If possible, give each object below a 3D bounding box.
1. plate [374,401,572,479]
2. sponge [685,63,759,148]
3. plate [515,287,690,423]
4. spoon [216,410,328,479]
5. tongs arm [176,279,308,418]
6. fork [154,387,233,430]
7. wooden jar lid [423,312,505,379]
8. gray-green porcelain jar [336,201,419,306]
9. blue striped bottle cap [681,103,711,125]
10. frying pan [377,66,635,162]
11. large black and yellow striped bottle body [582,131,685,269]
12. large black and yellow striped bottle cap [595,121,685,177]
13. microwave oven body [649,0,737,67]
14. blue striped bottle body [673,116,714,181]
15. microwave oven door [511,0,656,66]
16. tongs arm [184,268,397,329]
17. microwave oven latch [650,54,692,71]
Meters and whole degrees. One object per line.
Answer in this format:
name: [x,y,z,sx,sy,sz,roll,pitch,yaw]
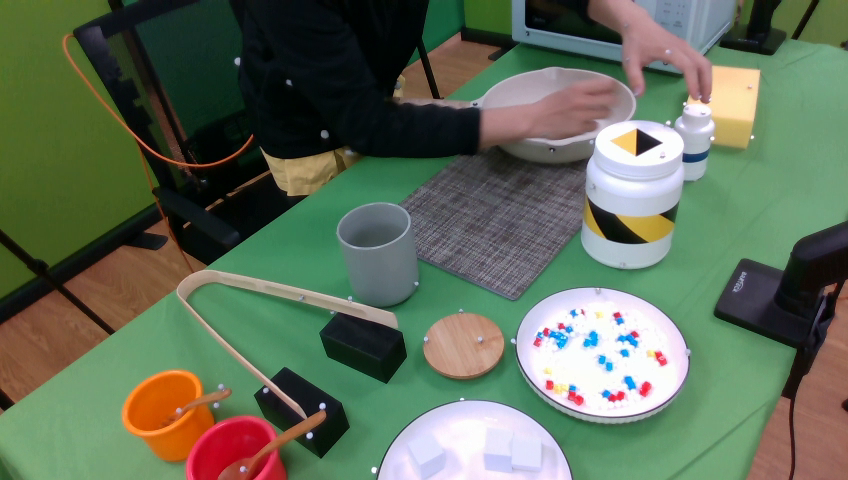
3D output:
plate: [0.051,0.268,0.639,0.207,0.039,0.206,-3,40,3]
sponge: [0.569,-0.263,1.164,0.117,0.061,0.207,12,45,22]
plate: [0.221,0.144,0.760,0.209,0.038,0.208,-4,40,4]
spoon: [-0.165,0.224,0.640,0.193,0.022,0.041,-41,31,30]
tongs arm: [-0.255,0.132,0.801,0.028,0.028,0.384,-41,40,-23]
fork: [-0.264,0.191,0.687,0.206,0.018,0.028,-33,9,44]
wooden jar lid: [0.053,0.142,0.800,0.108,0.021,0.108,-4,39,4]
gray-green porcelain jar: [-0.064,0.024,0.872,0.106,0.127,0.105,-4,41,4]
blue striped bottle cap: [0.446,-0.205,0.990,0.044,0.021,0.044,-5,44,5]
frying pan: [0.150,-0.255,1.177,0.488,0.103,0.306,7,41,4]
large black and yellow striped bottle body: [0.301,-0.064,0.878,0.131,0.185,0.130,-4,41,4]
large black and yellow striped bottle cap: [0.292,-0.126,0.821,0.115,0.019,0.114,-5,40,5]
microwave oven body: [0.475,-0.602,1.411,0.438,0.261,0.327,23,50,32]
blue striped bottle body: [0.451,-0.166,1.023,0.063,0.121,0.063,-5,41,4]
microwave oven door: [0.351,-0.539,1.348,0.353,0.245,0.039,24,50,31]
tongs arm: [-0.202,0.084,0.848,0.382,0.027,0.051,11,45,35]
microwave oven latch: [0.530,-0.386,1.301,0.078,0.029,0.030,23,50,31]
